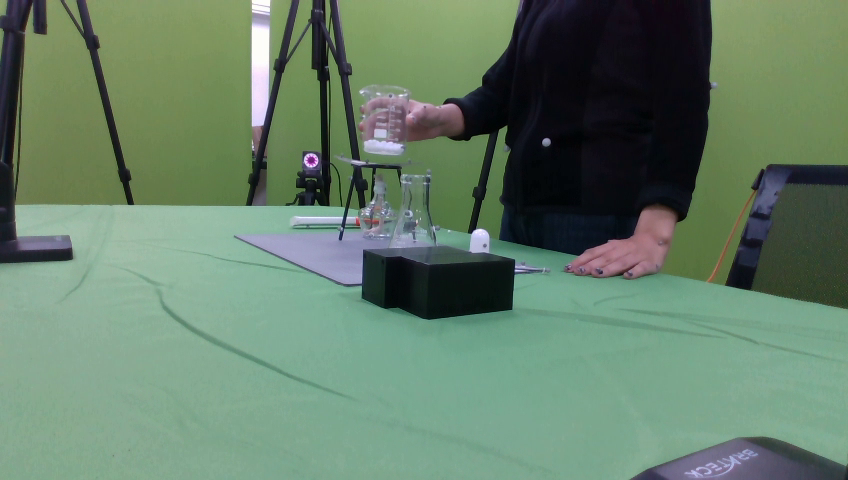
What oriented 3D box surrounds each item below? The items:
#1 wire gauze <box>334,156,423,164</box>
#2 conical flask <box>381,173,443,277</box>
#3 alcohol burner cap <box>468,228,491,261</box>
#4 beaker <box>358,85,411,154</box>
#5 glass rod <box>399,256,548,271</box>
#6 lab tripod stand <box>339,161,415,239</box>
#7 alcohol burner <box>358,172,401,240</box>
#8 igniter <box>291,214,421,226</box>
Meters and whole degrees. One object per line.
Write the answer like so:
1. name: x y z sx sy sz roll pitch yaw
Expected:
1. wire gauze: -0.081 -0.137 1.051 0.122 0.011 0.124 0 8 -29
2. conical flask: -0.012 -0.020 0.732 0.075 0.122 0.075 2 7 0
3. alcohol burner cap: 0.082 0.006 0.878 0.034 0.048 0.034 3 6 0
4. beaker: -0.066 -0.190 0.961 0.084 0.100 0.074 3 3 -5
5. glass rod: 0.064 0.030 0.806 0.199 0.008 0.008 4 7 10
6. lab tripod stand: -0.082 -0.070 1.059 0.148 0.131 0.148 4 6 0
7. alcohol burner: -0.077 -0.061 1.066 0.078 0.119 0.078 4 9 0
8. igniter: -0.135 -0.041 1.250 0.278 0.025 0.057 -1 -2 -28
